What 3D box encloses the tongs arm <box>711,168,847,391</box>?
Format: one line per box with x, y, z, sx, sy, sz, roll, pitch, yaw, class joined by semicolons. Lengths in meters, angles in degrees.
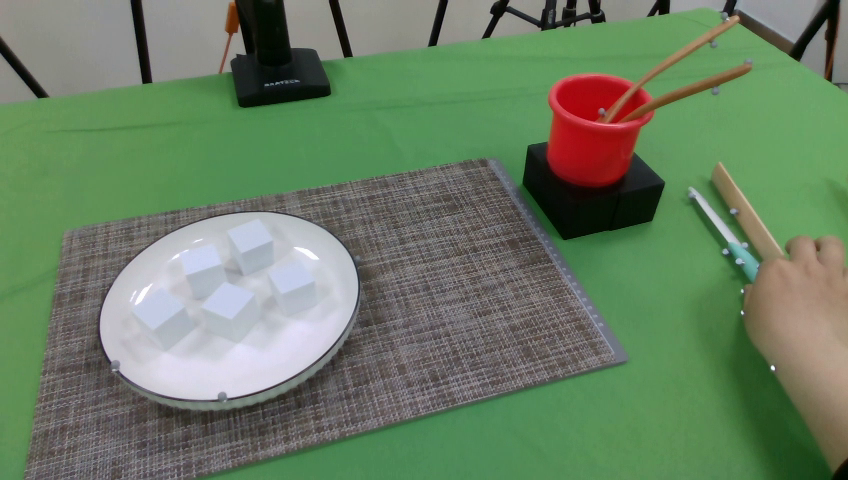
0.346;0.059;0.539;0.028;0.028;0.383;-2;43;-6;tongs arm

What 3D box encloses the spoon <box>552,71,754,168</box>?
0.196;-0.104;0.545;0.022;0.193;0.041;54;48;-8;spoon

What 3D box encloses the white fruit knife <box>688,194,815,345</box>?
0.309;0.018;0.593;0.027;0.016;0.205;17;35;-26;white fruit knife

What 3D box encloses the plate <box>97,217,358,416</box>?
-0.159;0.061;0.513;0.208;0.039;0.205;1;43;0;plate

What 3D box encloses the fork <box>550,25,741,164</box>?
0.210;-0.137;0.581;0.207;0.019;0.028;-39;21;15;fork
